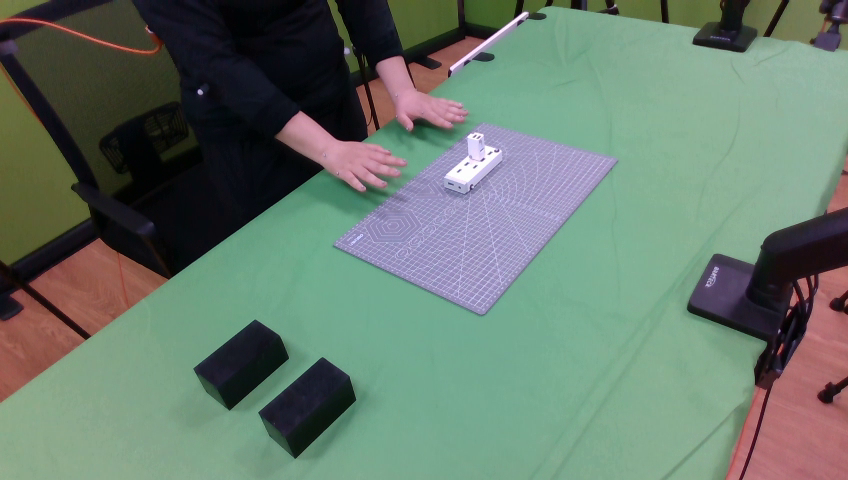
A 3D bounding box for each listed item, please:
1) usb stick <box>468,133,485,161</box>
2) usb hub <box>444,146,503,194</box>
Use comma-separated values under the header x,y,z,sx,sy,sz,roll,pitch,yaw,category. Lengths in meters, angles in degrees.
x,y,z,sx,sy,sz,roll,pitch,yaw,category
0.095,-0.162,1.096,0.027,0.059,0.021,21,48,27,usb stick
0.091,-0.129,1.102,0.049,0.025,0.125,23,49,30,usb hub
